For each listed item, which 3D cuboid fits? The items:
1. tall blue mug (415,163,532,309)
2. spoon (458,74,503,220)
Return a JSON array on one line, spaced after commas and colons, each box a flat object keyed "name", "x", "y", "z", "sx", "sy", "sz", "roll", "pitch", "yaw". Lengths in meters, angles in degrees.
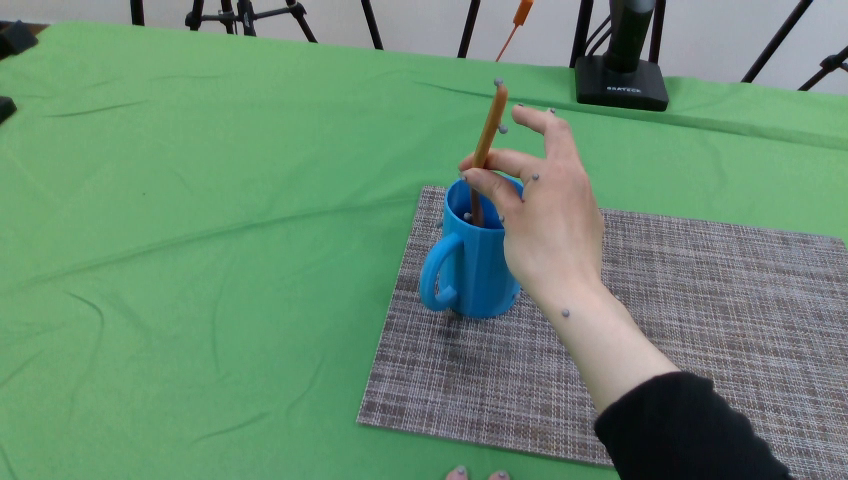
[{"name": "tall blue mug", "x": 0.044, "y": 0.008, "z": 0.525, "sx": 0.077, "sy": 0.109, "sz": 0.106, "roll": 14, "pitch": 46, "yaw": 11}, {"name": "spoon", "x": 0.039, "y": -0.054, "z": 0.476, "sx": 0.021, "sy": 0.195, "sz": 0.041, "roll": -1, "pitch": 59, "yaw": -3}]
